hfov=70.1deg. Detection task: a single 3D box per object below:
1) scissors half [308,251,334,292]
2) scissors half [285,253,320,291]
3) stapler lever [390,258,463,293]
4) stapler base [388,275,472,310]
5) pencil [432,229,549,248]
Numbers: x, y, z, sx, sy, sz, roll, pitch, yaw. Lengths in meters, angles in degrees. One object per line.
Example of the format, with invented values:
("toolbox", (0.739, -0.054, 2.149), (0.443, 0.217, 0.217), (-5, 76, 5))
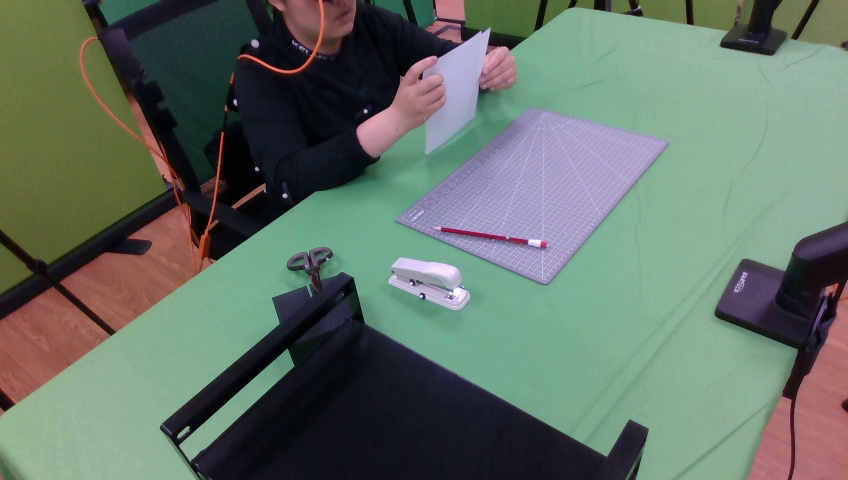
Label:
("scissors half", (-0.159, 0.046, 0.913), (0.040, 0.013, 0.174), (-6, 18, -4))
("scissors half", (-0.178, 0.049, 0.909), (0.040, 0.013, 0.174), (-17, 20, -20))
("stapler lever", (0.003, 0.046, 0.881), (0.117, 0.040, 0.027), (17, 44, 29))
("stapler base", (0.007, 0.066, 0.897), (0.129, 0.024, 0.041), (17, 44, 29))
("pencil", (0.103, -0.004, 0.970), (0.193, 0.012, 0.012), (8, 42, 18))
